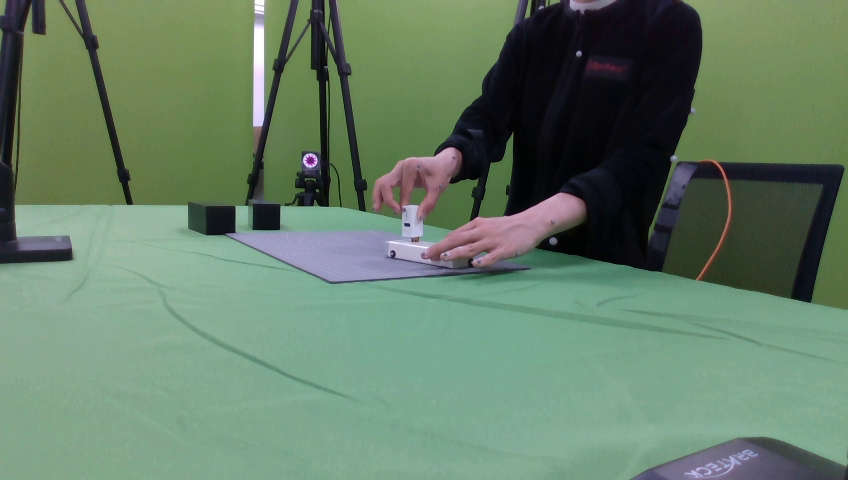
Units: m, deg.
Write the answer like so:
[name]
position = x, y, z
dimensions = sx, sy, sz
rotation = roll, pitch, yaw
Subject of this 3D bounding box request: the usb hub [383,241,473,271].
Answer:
[usb hub]
position = 0.004, 0.021, 0.842
dimensions = 0.124, 0.025, 0.050
rotation = 9, 10, 39

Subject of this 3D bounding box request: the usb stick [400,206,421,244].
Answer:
[usb stick]
position = -0.019, -0.018, 0.859
dimensions = 0.021, 0.059, 0.027
rotation = 10, 16, 37
